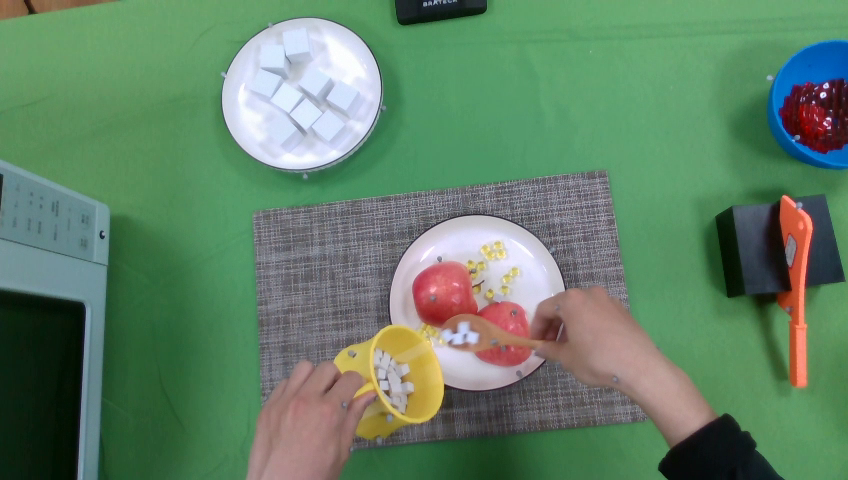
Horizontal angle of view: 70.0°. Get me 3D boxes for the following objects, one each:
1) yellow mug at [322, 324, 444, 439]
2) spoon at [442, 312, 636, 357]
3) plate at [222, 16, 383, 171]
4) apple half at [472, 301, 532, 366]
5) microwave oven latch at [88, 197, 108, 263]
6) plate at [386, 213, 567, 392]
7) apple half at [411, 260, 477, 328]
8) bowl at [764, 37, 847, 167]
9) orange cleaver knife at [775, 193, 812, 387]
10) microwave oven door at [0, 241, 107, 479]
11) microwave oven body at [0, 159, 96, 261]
[{"bbox_3d":[-0.046,0.145,0.599,0.064,0.131,0.099,-33,77,36],"label":"yellow mug"},{"bbox_3d":[0.108,0.100,0.599,0.192,0.022,0.041,4,98,29],"label":"spoon"},{"bbox_3d":[-0.153,-0.185,0.782,0.207,0.039,0.207,-1,80,5],"label":"plate"},{"bbox_3d":[0.087,0.108,0.699,0.081,0.033,0.081,-1,76,4],"label":"apple half"},{"bbox_3d":[-0.413,-0.012,0.753,0.030,0.029,0.079,-1,80,4],"label":"microwave oven latch"},{"bbox_3d":[0.060,0.072,0.714,0.209,0.038,0.208,-1,80,4],"label":"plate"},{"bbox_3d":[0.022,0.062,0.703,0.074,0.053,0.080,-9,80,5],"label":"apple half"},{"bbox_3d":[0.463,-0.148,0.704,0.151,0.077,0.151,-1,80,5],"label":"bowl"},{"bbox_3d":[0.405,0.056,0.670,0.012,0.077,0.212,-5,103,8],"label":"orange cleaver knife"},{"bbox_3d":[-0.414,0.185,0.614,0.039,0.245,0.354,-4,79,4],"label":"microwave oven door"},{"bbox_3d":[-0.561,0.153,0.637,0.326,0.261,0.440,-3,80,4],"label":"microwave oven body"}]
